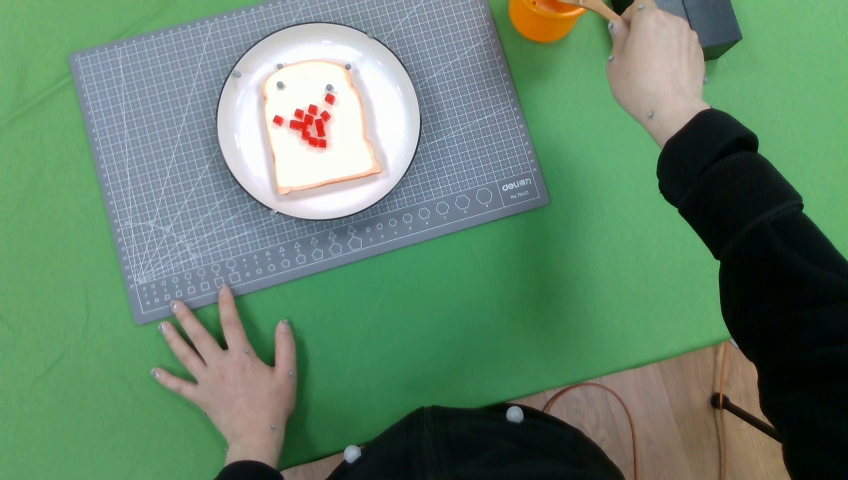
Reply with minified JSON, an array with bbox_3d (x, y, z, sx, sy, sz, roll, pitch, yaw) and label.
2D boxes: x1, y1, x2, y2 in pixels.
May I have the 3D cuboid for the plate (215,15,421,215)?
[{"bbox_3d":[-0.107,-0.127,0.631,0.209,0.038,0.208,0,85,-2],"label":"plate"}]

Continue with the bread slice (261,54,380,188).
[{"bbox_3d":[-0.115,-0.126,0.631,0.107,0.018,0.134,-16,85,-5],"label":"bread slice"}]

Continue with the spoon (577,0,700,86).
[{"bbox_3d":[0.169,-0.200,0.539,0.041,0.022,0.192,-44,69,8],"label":"spoon"}]
